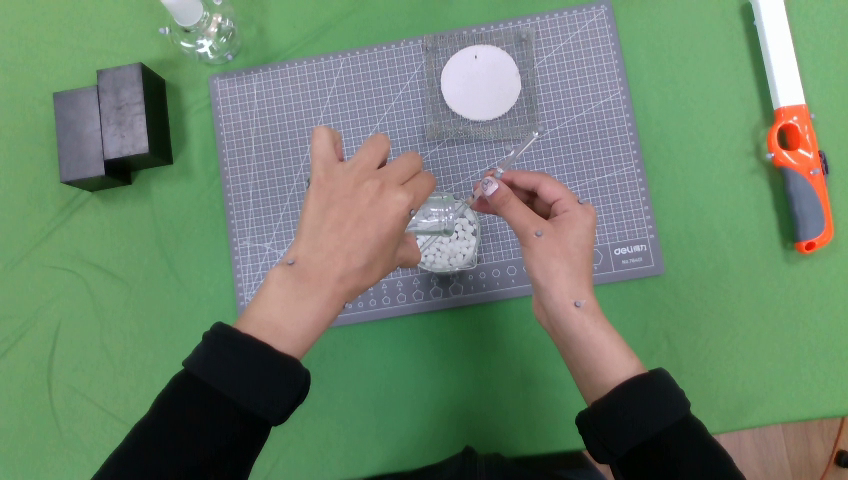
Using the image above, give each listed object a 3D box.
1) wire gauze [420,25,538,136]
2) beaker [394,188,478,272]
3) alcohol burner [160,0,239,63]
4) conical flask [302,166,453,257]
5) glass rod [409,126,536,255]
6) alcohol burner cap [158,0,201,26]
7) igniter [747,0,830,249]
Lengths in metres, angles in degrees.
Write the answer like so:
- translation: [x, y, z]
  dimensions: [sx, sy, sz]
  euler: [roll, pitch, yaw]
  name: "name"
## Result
- translation: [0.059, -0.170, 0.653]
  dimensions: [0.125, 0.011, 0.121]
  euler: [-2, 84, 2]
  name: "wire gauze"
- translation: [0.018, -0.003, 0.595]
  dimensions: [0.084, 0.100, 0.074]
  euler: [44, 90, 7]
  name: "beaker"
- translation: [-0.242, -0.233, 0.633]
  dimensions: [0.078, 0.119, 0.077]
  euler: [0, 85, 6]
  name: "alcohol burner"
- translation: [-0.038, -0.023, 0.505]
  dimensions: [0.122, 0.075, 0.075]
  euler: [0, 84, -9]
  name: "conical flask"
- translation: [0.034, -0.035, 0.516]
  dimensions: [0.008, 0.200, 0.008]
  euler: [16, 54, -23]
  name: "glass rod"
- translation: [-0.246, -0.239, 0.598]
  dimensions: [0.034, 0.048, 0.033]
  euler: [-1, 78, 5]
  name: "alcohol burner cap"
- translation: [0.370, -0.129, 0.617]
  dimensions: [0.057, 0.025, 0.275]
  euler: [-7, 84, -6]
  name: "igniter"
